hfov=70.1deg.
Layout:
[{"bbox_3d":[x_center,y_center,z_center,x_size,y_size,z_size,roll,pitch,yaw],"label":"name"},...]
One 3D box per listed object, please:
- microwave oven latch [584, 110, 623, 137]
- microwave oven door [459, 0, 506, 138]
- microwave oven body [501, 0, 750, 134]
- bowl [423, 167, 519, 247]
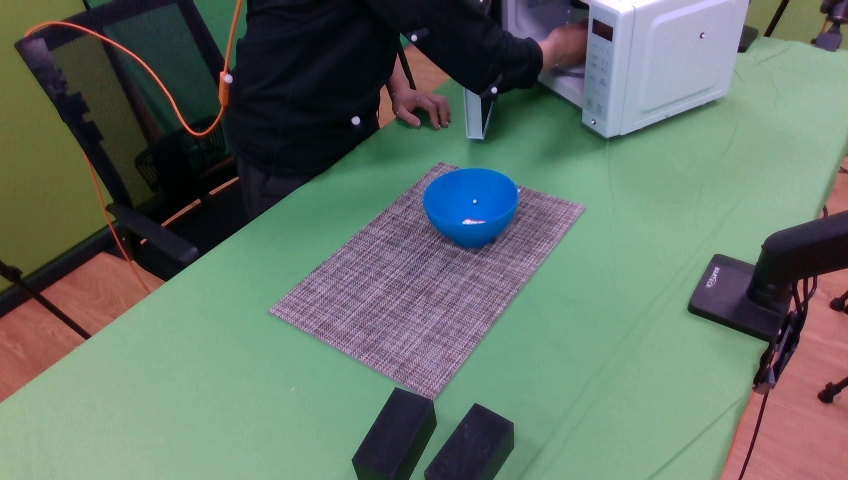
[{"bbox_3d":[0.337,-0.222,1.142,0.030,0.029,0.078,-21,42,-14],"label":"microwave oven latch"},{"bbox_3d":[0.125,-0.404,1.227,0.039,0.245,0.355,2,42,14],"label":"microwave oven door"},{"bbox_3d":[0.382,-0.445,1.246,0.327,0.261,0.437,-22,42,-16],"label":"microwave oven body"},{"bbox_3d":[0.076,-0.041,0.959,0.151,0.077,0.150,-4,41,4],"label":"bowl"}]
